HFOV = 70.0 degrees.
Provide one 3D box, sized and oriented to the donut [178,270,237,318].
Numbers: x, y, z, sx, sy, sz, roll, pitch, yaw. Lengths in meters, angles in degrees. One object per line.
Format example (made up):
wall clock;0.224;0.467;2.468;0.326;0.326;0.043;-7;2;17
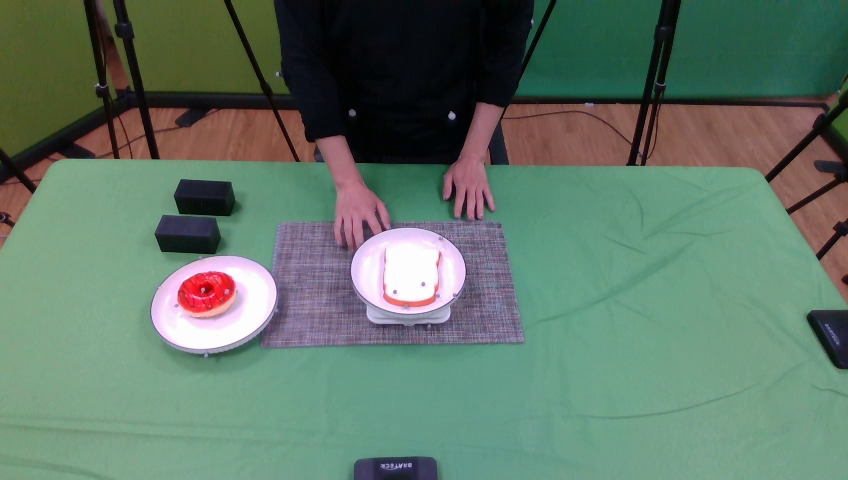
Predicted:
donut;-0.375;0.092;1.053;0.099;0.048;0.098;1;42;0

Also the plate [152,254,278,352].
plate;-0.357;0.111;1.052;0.208;0.039;0.206;2;46;-2

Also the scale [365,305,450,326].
scale;-0.032;0.071;1.113;0.149;0.032;0.199;0;46;-4

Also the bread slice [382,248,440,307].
bread slice;-0.023;0.064;1.077;0.105;0.019;0.130;2;45;0

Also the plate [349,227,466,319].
plate;-0.029;0.061;1.077;0.209;0.038;0.208;2;46;-2
